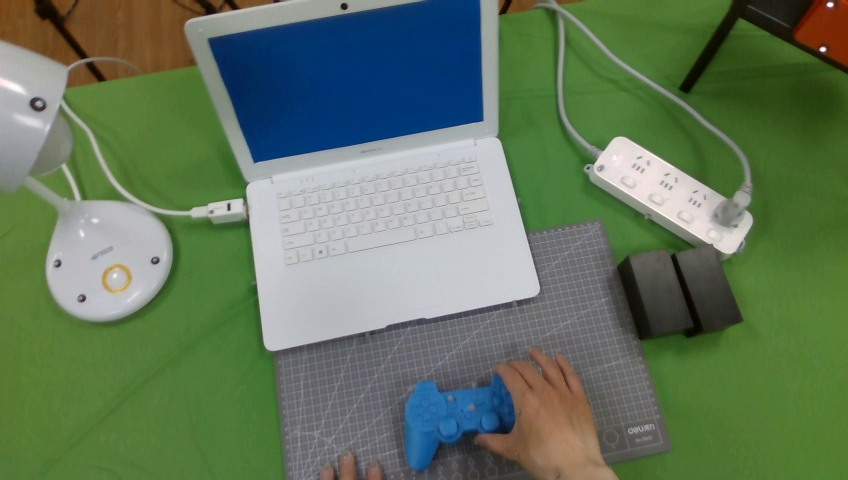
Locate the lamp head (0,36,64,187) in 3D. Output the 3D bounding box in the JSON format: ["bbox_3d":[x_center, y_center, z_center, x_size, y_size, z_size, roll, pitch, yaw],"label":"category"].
[{"bbox_3d":[-0.351,-0.110,0.448,0.124,0.112,0.112,22,66,-36],"label":"lamp head"}]

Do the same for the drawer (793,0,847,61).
[{"bbox_3d":[0.545,-0.270,0.655,0.193,0.074,0.211,34,74,12],"label":"drawer"}]

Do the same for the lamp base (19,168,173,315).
[{"bbox_3d":[-0.417,-0.015,0.715,0.160,0.181,0.178,-41,73,-12],"label":"lamp base"}]

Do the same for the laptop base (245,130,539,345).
[{"bbox_3d":[-0.047,-0.009,0.796,0.354,0.023,0.234,-12,74,-3],"label":"laptop base"}]

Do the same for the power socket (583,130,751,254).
[{"bbox_3d":[0.322,-0.065,0.803,0.226,0.033,0.072,35,75,12],"label":"power socket"}]

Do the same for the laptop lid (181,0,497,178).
[{"bbox_3d":[-0.083,-0.197,0.748,0.357,0.244,0.013,-13,47,-2],"label":"laptop lid"}]

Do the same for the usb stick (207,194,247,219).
[{"bbox_3d":[-0.252,-0.045,0.798,0.059,0.027,0.021,-7,65,-5],"label":"usb stick"}]

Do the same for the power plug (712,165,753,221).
[{"bbox_3d":[0.399,-0.054,0.774,0.072,0.053,0.035,-42,75,-14],"label":"power plug"}]

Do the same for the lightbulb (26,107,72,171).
[{"bbox_3d":[-0.327,-0.095,0.462,0.059,0.109,0.059,-21,53,31],"label":"lightbulb"}]

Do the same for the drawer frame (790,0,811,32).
[{"bbox_3d":[0.547,-0.275,0.655,0.201,0.083,0.213,33,74,12],"label":"drawer frame"}]

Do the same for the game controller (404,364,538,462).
[{"bbox_3d":[0.051,0.199,0.704,0.155,0.052,0.096,-7,67,1],"label":"game controller"}]
